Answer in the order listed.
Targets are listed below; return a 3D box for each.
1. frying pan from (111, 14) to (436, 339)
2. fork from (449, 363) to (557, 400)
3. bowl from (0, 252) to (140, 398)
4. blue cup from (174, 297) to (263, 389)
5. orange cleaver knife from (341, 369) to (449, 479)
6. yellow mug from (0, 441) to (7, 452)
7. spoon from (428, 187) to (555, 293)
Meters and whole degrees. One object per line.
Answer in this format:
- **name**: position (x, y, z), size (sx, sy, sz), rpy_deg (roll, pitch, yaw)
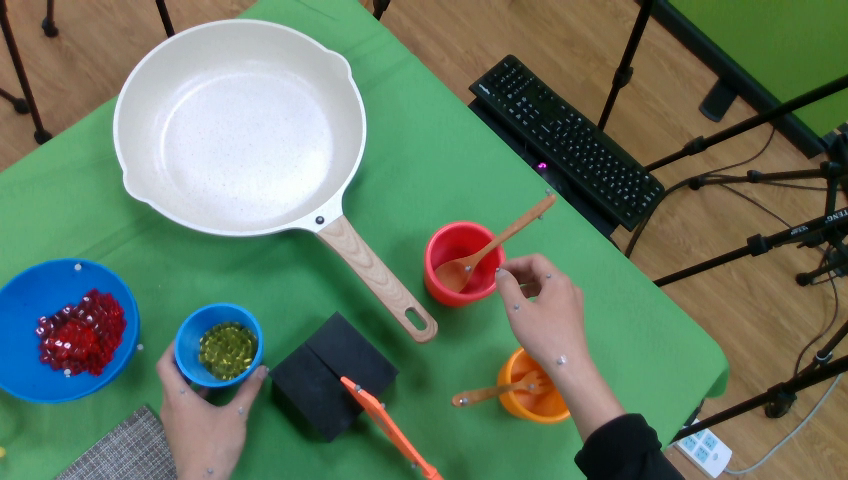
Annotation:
- **frying pan**: position (-0.155, -0.066, 0.725), size (0.307, 0.103, 0.485), rpy_deg (-37, 73, -17)
- **fork**: position (0.092, 0.156, 0.668), size (0.209, 0.018, 0.028), rpy_deg (7, 64, -53)
- **bowl**: position (-0.376, 0.096, 0.651), size (0.152, 0.077, 0.150), rpy_deg (3, 72, -9)
- **blue cup**: position (-0.214, 0.113, 0.660), size (0.093, 0.100, 0.092), rpy_deg (2, 74, -8)
- **orange cleaver knife**: position (-0.021, 0.221, 0.666), size (0.012, 0.076, 0.213), rpy_deg (-43, 112, -20)
- **yellow mug**: position (-0.490, 0.198, 0.606), size (0.131, 0.064, 0.099), rpy_deg (11, 71, -6)
- **spoon**: position (0.079, 0.001, 0.720), size (0.194, 0.022, 0.041), rpy_deg (-40, 78, 26)
